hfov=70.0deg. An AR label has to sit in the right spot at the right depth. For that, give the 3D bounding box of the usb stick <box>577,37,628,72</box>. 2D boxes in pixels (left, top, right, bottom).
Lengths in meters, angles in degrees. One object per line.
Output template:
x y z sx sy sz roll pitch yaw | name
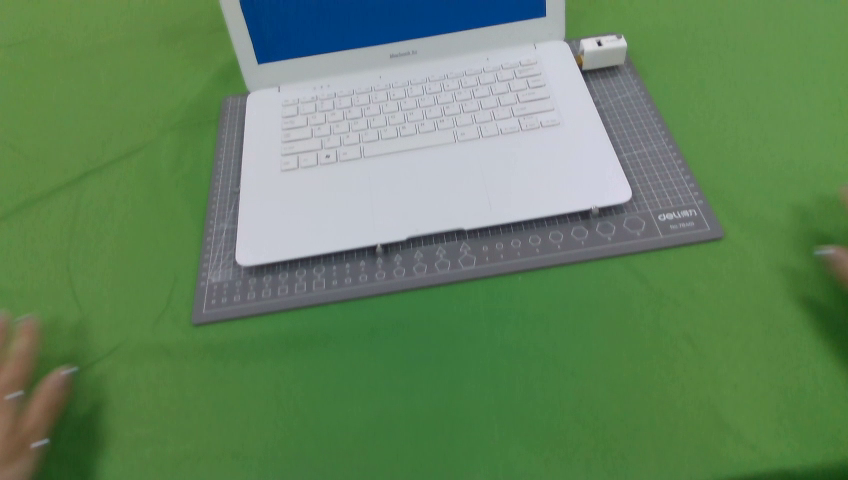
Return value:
0.181 -0.194 0.635 0.059 0.027 0.021 -9 53 3 | usb stick

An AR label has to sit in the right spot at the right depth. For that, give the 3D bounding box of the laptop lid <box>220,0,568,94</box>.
-0.033 -0.280 0.601 0.357 0.244 0.013 -11 35 1 | laptop lid

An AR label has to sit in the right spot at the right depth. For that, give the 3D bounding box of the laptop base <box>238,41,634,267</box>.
-0.002 -0.092 0.598 0.354 0.023 0.233 -9 55 0 | laptop base
